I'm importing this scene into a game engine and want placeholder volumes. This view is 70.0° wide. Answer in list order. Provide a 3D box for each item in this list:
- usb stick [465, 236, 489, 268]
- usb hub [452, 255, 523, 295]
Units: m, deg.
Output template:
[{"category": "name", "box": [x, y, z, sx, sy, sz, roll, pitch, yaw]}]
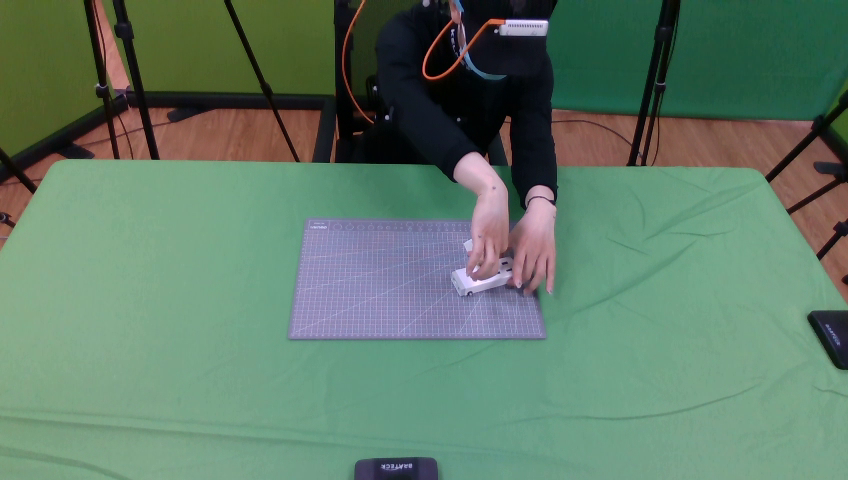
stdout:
[{"category": "usb stick", "box": [0.101, 0.024, 1.117, 0.021, 0.059, 0.027, -34, 14, -36]}, {"category": "usb hub", "box": [0.119, 0.065, 1.132, 0.125, 0.025, 0.049, -14, 49, -15]}]
